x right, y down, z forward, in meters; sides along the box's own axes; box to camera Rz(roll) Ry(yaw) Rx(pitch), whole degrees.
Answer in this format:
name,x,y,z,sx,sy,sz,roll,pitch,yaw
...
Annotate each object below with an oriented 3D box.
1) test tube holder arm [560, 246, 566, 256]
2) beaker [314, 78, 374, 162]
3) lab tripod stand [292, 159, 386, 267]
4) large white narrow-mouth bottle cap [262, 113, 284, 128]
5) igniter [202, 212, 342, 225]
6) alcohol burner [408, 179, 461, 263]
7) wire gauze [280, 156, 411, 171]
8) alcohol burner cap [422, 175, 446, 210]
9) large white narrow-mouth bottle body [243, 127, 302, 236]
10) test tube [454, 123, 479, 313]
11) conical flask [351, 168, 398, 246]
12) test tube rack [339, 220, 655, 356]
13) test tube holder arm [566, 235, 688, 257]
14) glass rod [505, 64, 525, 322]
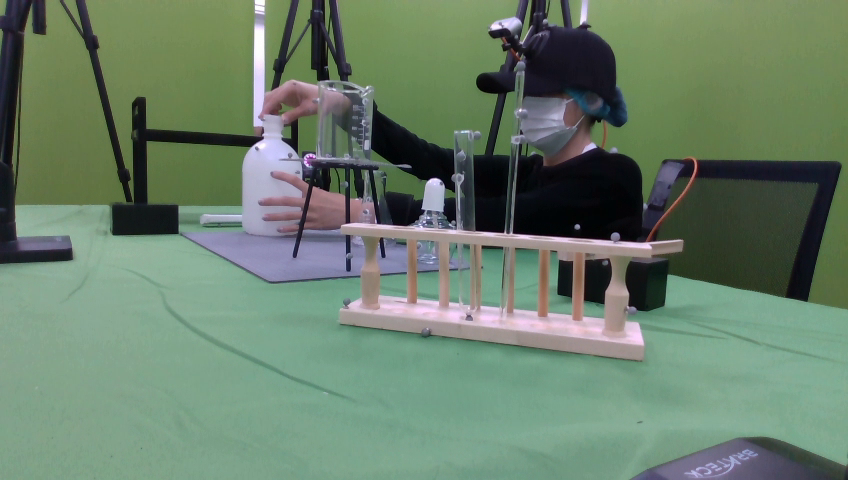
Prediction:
name,x,y,z,sx,sy,sz,roll,pitch,yaw
test tube holder arm,0.173,0.007,0.611,0.088,0.015,0.010,-3,10,-30
beaker,-0.101,-0.151,0.775,0.074,0.100,0.083,-2,8,-39
lab tripod stand,-0.105,-0.039,0.797,0.148,0.131,0.148,2,5,0
large white narrow-mouth bottle cap,-0.262,-0.206,1.046,0.038,0.024,0.037,2,8,0
igniter,-0.298,-0.043,1.216,0.278,0.025,0.057,-3,-2,-32
alcohol burner,0.013,-0.029,0.834,0.078,0.119,0.078,0,6,0
wire gauze,-0.103,-0.103,0.785,0.121,0.011,0.126,11,8,42
alcohol burner cap,0.016,-0.065,0.830,0.034,0.048,0.034,7,4,0
large white narrow-mouth bottle body,-0.265,-0.109,1.061,0.102,0.194,0.102,2,8,0
test tube,0.034,-0.016,0.477,0.017,0.150,0.017,-2,9,1
conical flask,-0.078,-0.053,0.962,0.075,0.122,0.075,2,7,0
test tube rack,0.056,0.032,0.495,0.242,0.085,0.067,4,7,15
test tube holder arm,0.215,0.006,0.629,0.179,0.015,0.013,-3,10,-30
glass rod,0.069,-0.030,0.458,0.008,0.199,0.008,1,15,0
